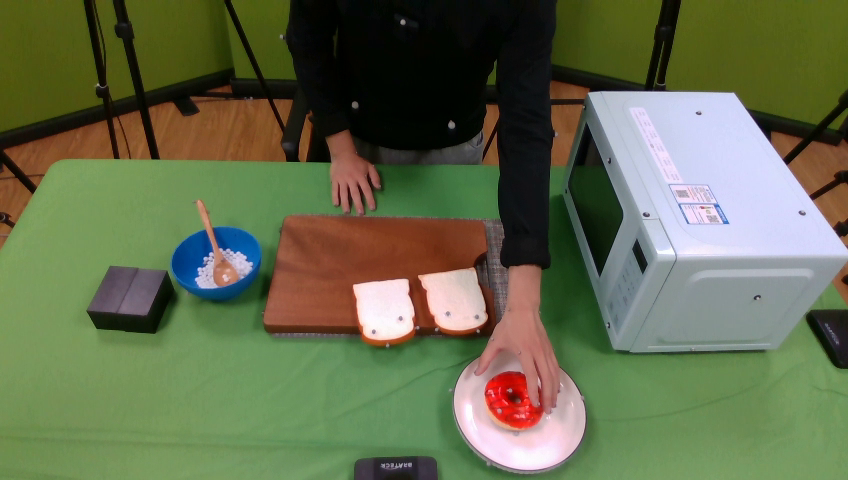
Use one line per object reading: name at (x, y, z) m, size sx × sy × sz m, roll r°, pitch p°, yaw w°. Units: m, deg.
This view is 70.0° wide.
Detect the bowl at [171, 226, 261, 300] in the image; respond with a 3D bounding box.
bowl at (-0.363, 0.054, 1.081) m, size 0.151 × 0.077 × 0.150 m, roll 2°, pitch 45°, yaw -2°

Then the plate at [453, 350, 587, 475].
plate at (0.147, 0.267, 0.943) m, size 0.208 × 0.039 × 0.206 m, roll 2°, pitch 46°, yaw -2°

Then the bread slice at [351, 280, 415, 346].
bread slice at (-0.067, 0.123, 1.041) m, size 0.105 × 0.019 × 0.130 m, roll -7°, pitch 47°, yaw -9°

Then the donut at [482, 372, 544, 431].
donut at (0.139, 0.251, 0.942) m, size 0.099 × 0.048 × 0.098 m, roll 5°, pitch 45°, yaw -5°

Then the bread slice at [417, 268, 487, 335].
bread slice at (0.055, 0.108, 1.063) m, size 0.107 × 0.018 × 0.133 m, roll -9°, pitch 48°, yaw -12°

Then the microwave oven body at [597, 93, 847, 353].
microwave oven body at (0.475, -0.041, 1.109) m, size 0.326 × 0.261 × 0.438 m, roll -1°, pitch 45°, yaw -4°

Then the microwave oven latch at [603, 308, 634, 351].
microwave oven latch at (0.333, 0.153, 1.044) m, size 0.030 × 0.029 × 0.078 m, roll 0°, pitch 45°, yaw -3°

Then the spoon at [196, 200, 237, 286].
spoon at (-0.378, 0.003, 1.086) m, size 0.042 × 0.022 × 0.192 m, roll -15°, pitch 67°, yaw -24°

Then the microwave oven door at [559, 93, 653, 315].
microwave oven door at (0.327, -0.074, 1.123) m, size 0.039 × 0.245 × 0.353 m, roll -1°, pitch 46°, yaw -5°
